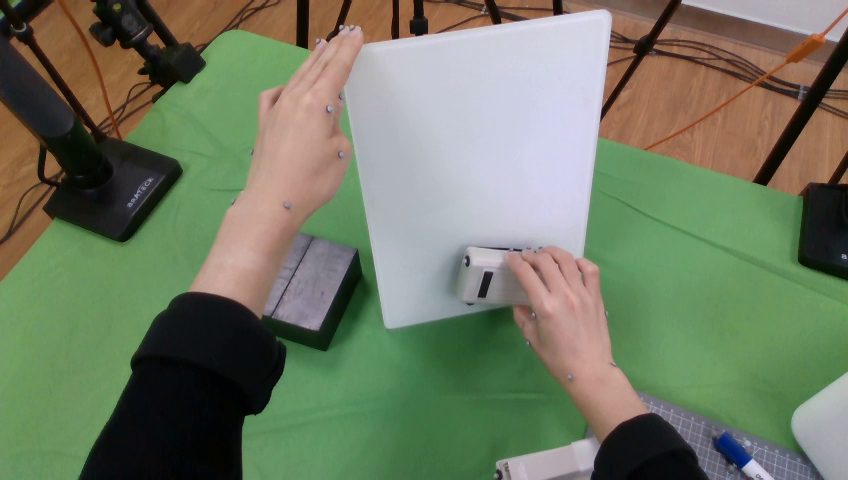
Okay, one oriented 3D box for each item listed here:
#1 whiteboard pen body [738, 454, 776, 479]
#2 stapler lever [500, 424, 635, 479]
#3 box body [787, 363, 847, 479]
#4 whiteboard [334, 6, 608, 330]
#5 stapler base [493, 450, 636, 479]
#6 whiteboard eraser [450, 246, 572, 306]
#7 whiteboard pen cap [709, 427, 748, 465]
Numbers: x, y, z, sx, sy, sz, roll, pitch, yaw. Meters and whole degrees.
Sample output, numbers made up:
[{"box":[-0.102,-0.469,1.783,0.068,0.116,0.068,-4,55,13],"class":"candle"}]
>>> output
[{"box":[0.320,0.230,0.538,0.017,0.017,0.139,-32,62,-19],"class":"whiteboard pen body"},{"box":[0.127,0.190,0.534,0.118,0.040,0.026,-11,54,-4],"class":"stapler lever"},{"box":[0.515,0.220,0.467,0.254,0.162,0.360,-21,61,-13],"class":"box body"},{"box":[0.038,-0.085,0.604,0.217,0.308,0.142,-10,40,-6],"class":"whiteboard"},{"box":[0.130,0.203,0.555,0.130,0.024,0.041,-12,54,-3],"class":"stapler base"},{"box":[0.085,0.035,0.601,0.113,0.056,0.041,4,34,-17],"class":"whiteboard eraser"},{"box":[0.284,0.192,0.565,0.018,0.018,0.033,-32,63,-19],"class":"whiteboard pen cap"}]
